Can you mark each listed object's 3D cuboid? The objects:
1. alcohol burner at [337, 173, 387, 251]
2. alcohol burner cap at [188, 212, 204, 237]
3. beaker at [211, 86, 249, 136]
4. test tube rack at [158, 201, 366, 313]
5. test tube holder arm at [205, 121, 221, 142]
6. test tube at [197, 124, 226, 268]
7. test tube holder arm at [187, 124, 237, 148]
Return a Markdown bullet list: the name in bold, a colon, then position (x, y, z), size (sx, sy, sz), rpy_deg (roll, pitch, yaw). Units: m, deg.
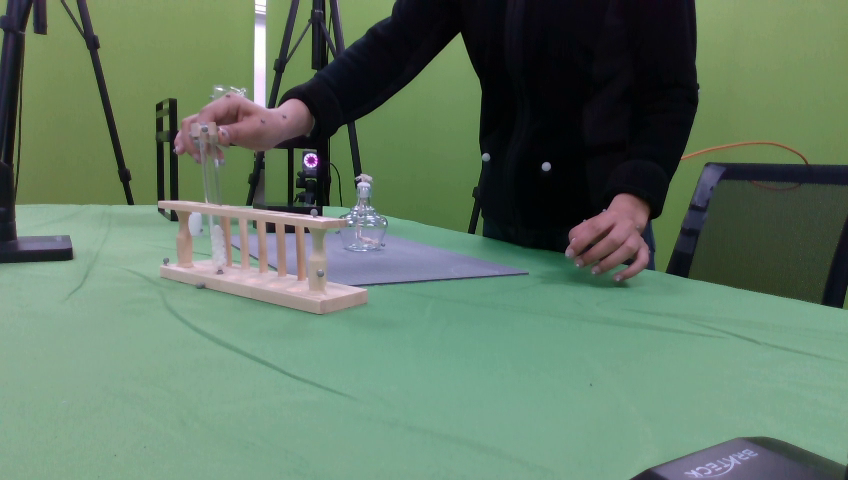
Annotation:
- **alcohol burner**: position (-0.095, -0.043, 0.926), size (0.078, 0.119, 0.078), rpy_deg (3, 6, 0)
- **alcohol burner cap**: position (-0.390, -0.029, 1.025), size (0.034, 0.048, 0.034), rpy_deg (2, 8, 0)
- **beaker**: position (-0.413, -0.274, 1.297), size (0.074, 0.100, 0.083), rpy_deg (-5, 11, -44)
- **test tube rack**: position (-0.173, 0.009, 0.624), size (0.241, 0.085, 0.067), rpy_deg (7, 9, 34)
- **test tube holder arm**: position (-0.224, -0.114, 0.642), size (0.010, 0.015, 0.087), rpy_deg (-14, 7, -15)
- **test tube**: position (-0.221, -0.044, 0.629), size (0.017, 0.150, 0.017), rpy_deg (-3, 8, 1)
- **test tube holder arm**: position (-0.237, -0.116, 0.686), size (0.013, 0.015, 0.178), rpy_deg (-12, 7, -5)
